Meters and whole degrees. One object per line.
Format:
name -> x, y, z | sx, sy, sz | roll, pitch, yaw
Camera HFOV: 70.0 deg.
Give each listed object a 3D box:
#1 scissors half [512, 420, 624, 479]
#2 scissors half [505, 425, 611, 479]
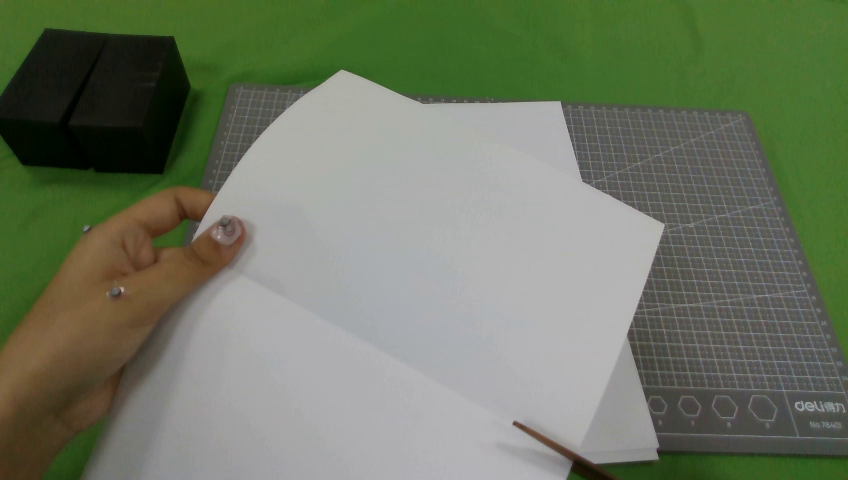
scissors half -> 0.110, 0.121, 0.259 | 0.176, 0.040, 0.012 | 33, 72, -8
scissors half -> 0.112, 0.113, 0.238 | 0.174, 0.040, 0.013 | 22, 66, 21
